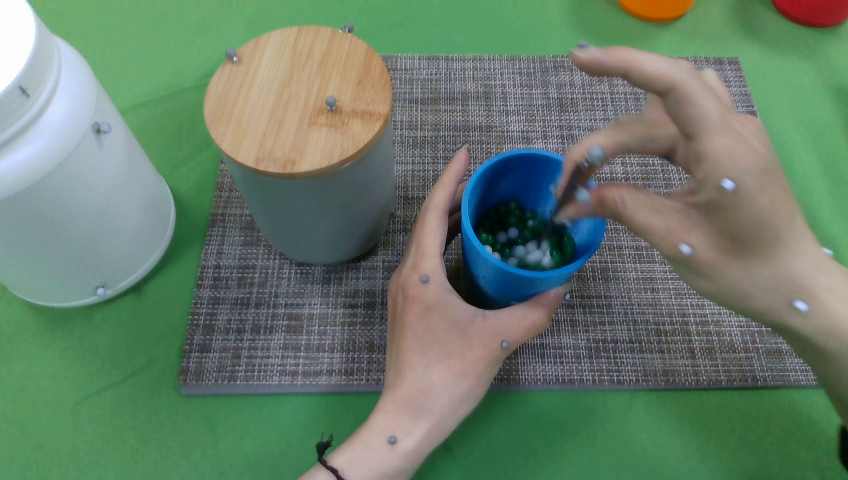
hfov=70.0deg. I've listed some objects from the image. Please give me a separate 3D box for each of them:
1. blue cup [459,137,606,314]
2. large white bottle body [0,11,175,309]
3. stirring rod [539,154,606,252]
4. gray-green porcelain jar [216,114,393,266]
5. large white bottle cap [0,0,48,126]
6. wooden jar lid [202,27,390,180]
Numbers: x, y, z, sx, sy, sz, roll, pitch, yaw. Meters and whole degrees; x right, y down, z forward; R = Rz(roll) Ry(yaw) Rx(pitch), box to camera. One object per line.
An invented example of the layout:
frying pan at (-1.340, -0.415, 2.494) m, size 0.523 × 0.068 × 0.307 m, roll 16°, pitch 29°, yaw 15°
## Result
blue cup at (0.061, 0.004, 0.392) m, size 0.093 × 0.101 × 0.092 m, roll 1°, pitch 65°, yaw -2°
large white bottle body at (-0.252, -0.048, 0.379) m, size 0.130 × 0.186 × 0.129 m, roll 0°, pitch 62°, yaw 0°
stirring rod at (0.076, -0.013, 0.326) m, size 0.014 × 0.177 × 0.006 m, roll -37°, pitch 78°, yaw -2°
gray-green porcelain jar at (-0.074, -0.049, 0.412) m, size 0.106 × 0.127 × 0.105 m, roll 0°, pitch 62°, yaw 0°
large white bottle cap at (-0.252, -0.088, 0.303) m, size 0.115 × 0.018 × 0.114 m, roll 1°, pitch 62°, yaw -1°
wooden jar lid at (-0.073, -0.079, 0.356) m, size 0.108 × 0.021 × 0.107 m, roll -1°, pitch 63°, yaw 2°
